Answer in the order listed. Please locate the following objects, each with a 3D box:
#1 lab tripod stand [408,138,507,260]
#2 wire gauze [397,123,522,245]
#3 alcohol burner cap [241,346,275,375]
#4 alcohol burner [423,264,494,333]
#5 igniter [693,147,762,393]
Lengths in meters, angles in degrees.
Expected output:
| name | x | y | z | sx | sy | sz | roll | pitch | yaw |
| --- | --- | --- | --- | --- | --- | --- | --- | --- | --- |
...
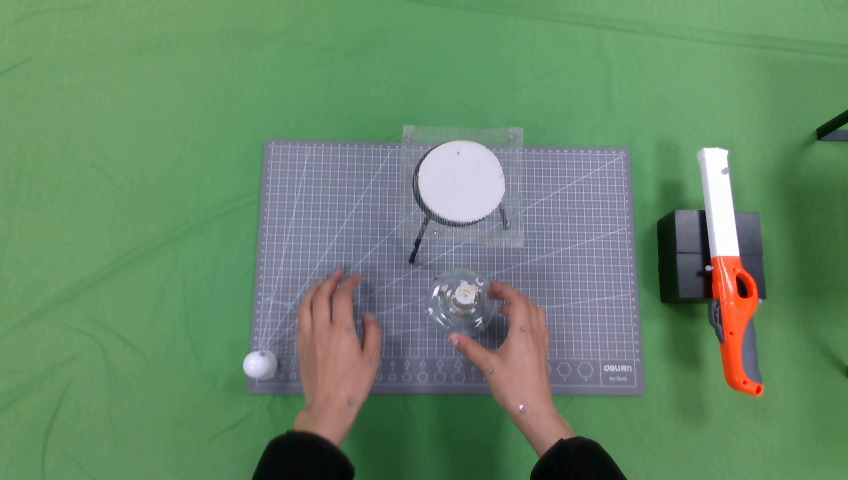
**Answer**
| name | x | y | z | sx | sy | sz | roll | pitch | yaw |
| --- | --- | --- | --- | --- | --- | --- | --- | --- | --- |
| lab tripod stand | 0.027 | -0.048 | 0.663 | 0.148 | 0.132 | 0.147 | 0 | 77 | -1 |
| wire gauze | 0.036 | -0.058 | 0.596 | 0.125 | 0.011 | 0.121 | 3 | 78 | -1 |
| alcohol burner cap | -0.184 | 0.131 | 0.661 | 0.034 | 0.048 | 0.033 | 1 | 77 | -4 |
| alcohol burner | 0.038 | 0.061 | 0.651 | 0.078 | 0.119 | 0.077 | 0 | 79 | -1 |
| igniter | 0.334 | 0.028 | 0.671 | 0.057 | 0.025 | 0.275 | 0 | 76 | -6 |
